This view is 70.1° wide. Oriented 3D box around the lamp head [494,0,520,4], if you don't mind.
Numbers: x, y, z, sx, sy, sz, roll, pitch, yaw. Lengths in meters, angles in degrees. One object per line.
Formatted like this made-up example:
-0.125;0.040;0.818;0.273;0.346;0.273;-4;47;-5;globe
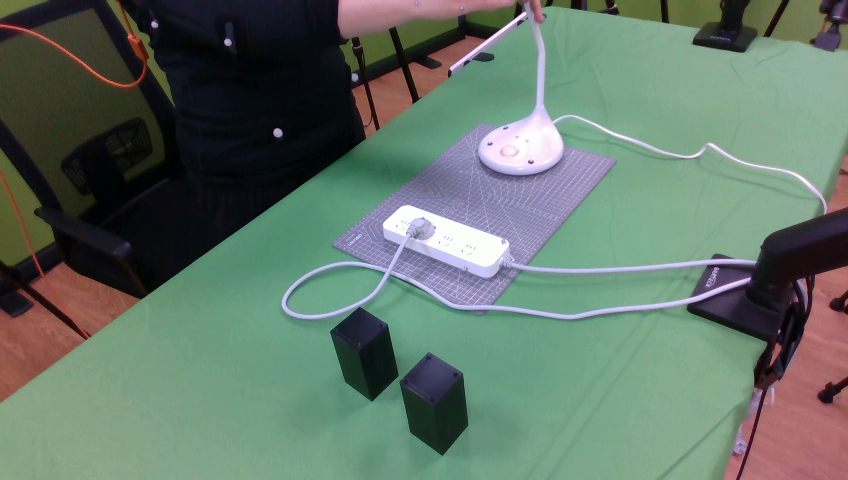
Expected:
0.124;-0.417;0.860;0.111;0.113;0.123;25;73;33;lamp head

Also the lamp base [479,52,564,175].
0.182;-0.237;1.095;0.159;0.181;0.179;20;44;28;lamp base

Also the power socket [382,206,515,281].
0.032;0.002;0.950;0.225;0.033;0.072;21;49;29;power socket

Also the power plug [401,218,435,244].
-0.014;-0.005;0.937;0.073;0.053;0.035;-38;47;-26;power plug
